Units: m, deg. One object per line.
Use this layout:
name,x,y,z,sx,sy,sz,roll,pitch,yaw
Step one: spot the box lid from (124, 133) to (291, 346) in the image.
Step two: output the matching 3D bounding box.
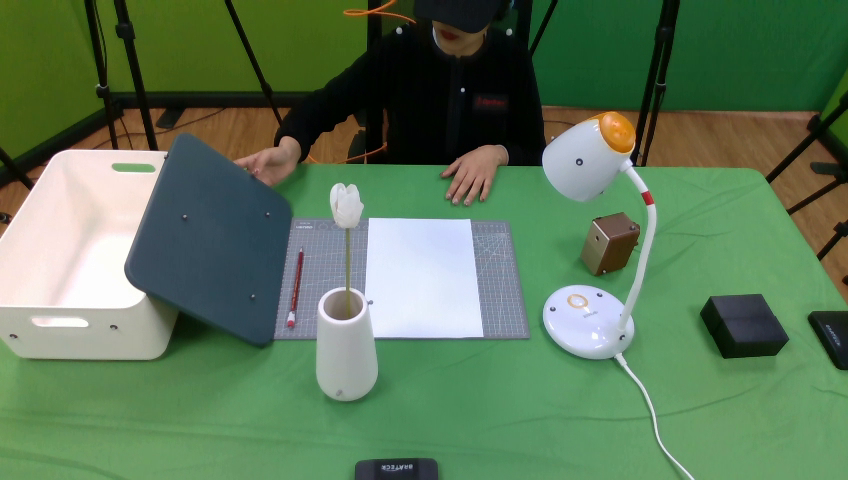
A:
box lid,-0.356,-0.012,1.064,0.015,0.265,0.369,-33,39,26

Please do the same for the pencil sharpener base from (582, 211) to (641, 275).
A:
pencil sharpener base,0.357,0.005,1.155,0.077,0.107,0.061,-15,48,-18

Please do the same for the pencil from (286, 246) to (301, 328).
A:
pencil,-0.236,0.080,1.106,0.012,0.012,0.193,0,45,-4

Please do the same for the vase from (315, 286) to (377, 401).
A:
vase,-0.119,0.159,0.911,0.098,0.201,0.097,2,47,-2

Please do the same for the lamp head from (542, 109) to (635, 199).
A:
lamp head,0.253,-0.131,0.893,0.113,0.123,0.112,10,66,-24

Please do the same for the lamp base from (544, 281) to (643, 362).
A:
lamp base,0.304,0.095,1.014,0.161,0.181,0.178,-24,54,-24

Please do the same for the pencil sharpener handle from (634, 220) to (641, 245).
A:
pencil sharpener handle,0.405,-0.015,1.161,0.031,0.068,0.035,-15,43,-18

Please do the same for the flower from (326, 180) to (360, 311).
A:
flower,-0.110,0.086,0.867,0.044,0.363,0.038,22,34,36

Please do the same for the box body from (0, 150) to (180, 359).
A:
box body,-0.541,0.021,1.042,0.254,0.161,0.361,1,46,-3
